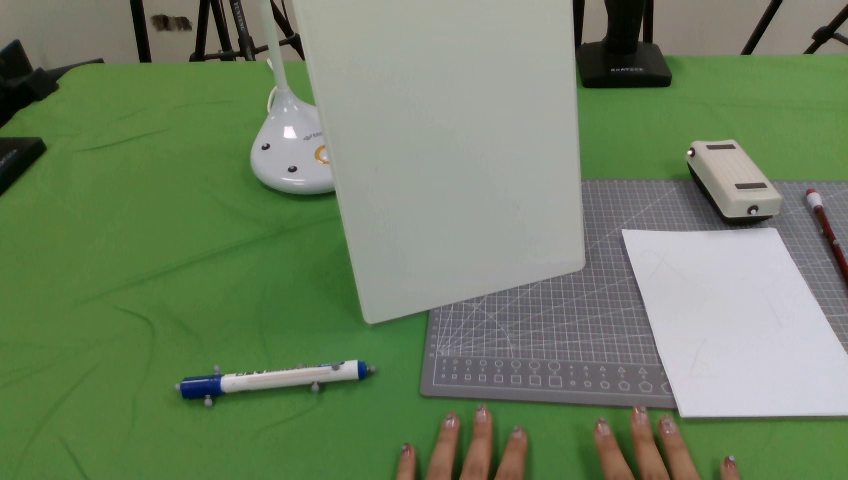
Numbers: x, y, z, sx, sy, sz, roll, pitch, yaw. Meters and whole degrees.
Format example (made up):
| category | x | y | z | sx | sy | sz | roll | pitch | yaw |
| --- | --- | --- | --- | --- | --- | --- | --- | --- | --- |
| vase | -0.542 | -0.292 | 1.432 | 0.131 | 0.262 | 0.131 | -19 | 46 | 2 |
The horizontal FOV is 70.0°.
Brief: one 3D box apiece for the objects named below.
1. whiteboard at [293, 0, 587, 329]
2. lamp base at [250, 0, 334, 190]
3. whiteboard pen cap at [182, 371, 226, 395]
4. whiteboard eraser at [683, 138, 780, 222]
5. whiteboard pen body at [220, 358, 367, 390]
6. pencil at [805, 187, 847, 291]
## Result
| category | x | y | z | sx | sy | sz | roll | pitch | yaw |
| --- | --- | --- | --- | --- | --- | --- | --- | --- | --- |
| whiteboard | 0.013 | -0.108 | 0.558 | 0.217 | 0.307 | 0.142 | -13 | 23 | -9 |
| lamp base | -0.144 | -0.174 | 0.694 | 0.160 | 0.182 | 0.177 | -33 | 47 | -29 |
| whiteboard pen cap | -0.178 | 0.116 | 0.494 | 0.033 | 0.018 | 0.018 | -6 | 42 | -1 |
| whiteboard eraser | 0.319 | -0.064 | 0.636 | 0.055 | 0.042 | 0.111 | -5 | 42 | 0 |
| whiteboard pen body | -0.118 | 0.111 | 0.497 | 0.141 | 0.017 | 0.017 | -6 | 41 | -1 |
| pencil | 0.389 | 0.012 | 0.571 | 0.012 | 0.012 | 0.192 | 5 | 44 | 10 |
